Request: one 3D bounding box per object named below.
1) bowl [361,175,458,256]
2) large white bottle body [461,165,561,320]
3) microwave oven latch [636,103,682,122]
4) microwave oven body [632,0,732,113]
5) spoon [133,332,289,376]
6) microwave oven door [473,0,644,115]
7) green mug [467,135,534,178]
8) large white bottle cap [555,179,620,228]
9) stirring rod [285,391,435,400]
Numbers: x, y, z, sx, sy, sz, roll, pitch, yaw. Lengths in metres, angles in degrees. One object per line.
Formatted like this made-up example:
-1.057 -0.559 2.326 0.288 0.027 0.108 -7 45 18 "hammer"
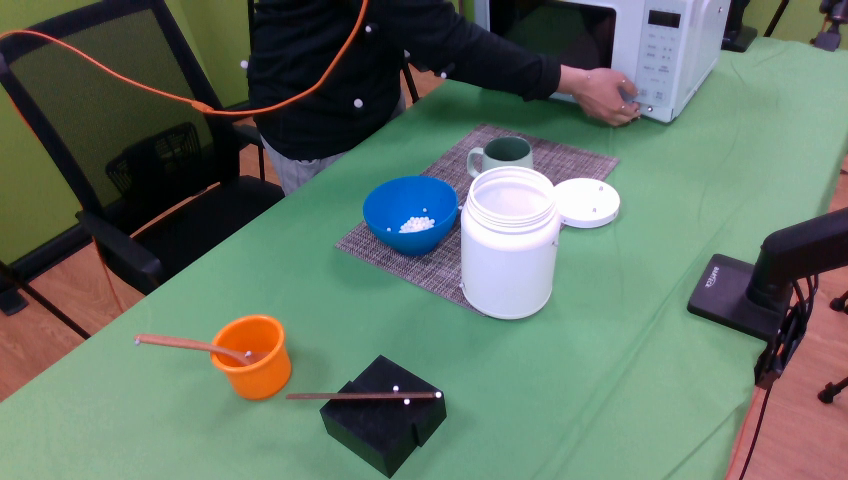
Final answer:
-0.019 -0.029 0.955 0.151 0.077 0.150 -4 40 4 "bowl"
0.115 0.004 0.816 0.130 0.185 0.130 -2 43 2 "large white bottle body"
0.449 -0.252 1.159 0.030 0.029 0.078 -35 47 -27 "microwave oven latch"
0.377 -0.463 1.267 0.438 0.261 0.327 21 49 30 "microwave oven body"
-0.257 0.137 0.747 0.021 0.195 0.041 -48 39 22 "spoon"
0.257 -0.396 1.199 0.353 0.245 0.039 21 48 29 "microwave oven door"
0.126 -0.114 1.014 0.124 0.105 0.093 21 48 30 "green mug"
0.265 -0.062 1.001 0.115 0.018 0.114 -4 41 4 "large white bottle cap"
-0.075 0.180 0.698 0.176 0.006 0.014 -2 7 7 "stirring rod"
